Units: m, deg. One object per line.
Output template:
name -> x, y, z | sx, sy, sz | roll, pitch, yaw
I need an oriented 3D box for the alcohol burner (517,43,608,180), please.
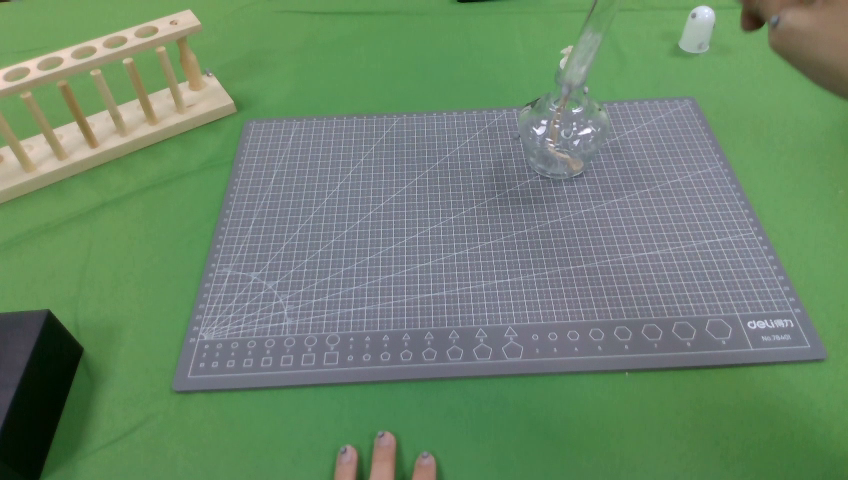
alcohol burner -> 0.119, -0.110, 0.512 | 0.078, 0.120, 0.077 | -1, 47, 2

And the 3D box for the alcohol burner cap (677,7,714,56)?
alcohol burner cap -> 0.297, -0.227, 0.656 | 0.034, 0.048, 0.033 | -3, 49, 3

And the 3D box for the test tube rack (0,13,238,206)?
test tube rack -> -0.312, -0.125, 0.570 | 0.242, 0.086, 0.066 | -27, 53, -19

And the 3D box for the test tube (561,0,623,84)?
test tube -> 0.110, -0.151, 0.334 | 0.017, 0.151, 0.017 | 8, 48, -9

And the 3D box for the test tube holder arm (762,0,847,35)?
test tube holder arm -> 0.174, -0.133, 0.315 | 0.178, 0.015, 0.013 | 27, 49, 10
